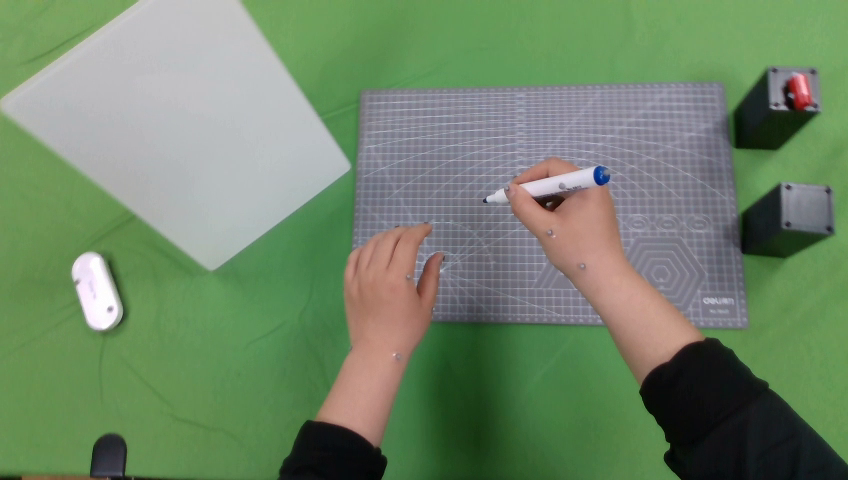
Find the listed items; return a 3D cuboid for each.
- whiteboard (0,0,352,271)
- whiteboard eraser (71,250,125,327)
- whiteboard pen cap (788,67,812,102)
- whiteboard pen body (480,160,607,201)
[{"bbox_3d":[-0.255,-0.146,0.661,0.217,0.309,0.142,-38,55,-4],"label":"whiteboard"},{"bbox_3d":[-0.397,0.059,0.736,0.041,0.019,0.100,-26,76,-3],"label":"whiteboard eraser"},{"bbox_3d":[0.384,-0.158,0.617,0.017,0.017,0.032,-4,76,5],"label":"whiteboard pen cap"},{"bbox_3d":[0.094,-0.047,0.514,0.017,0.140,0.017,5,81,-36],"label":"whiteboard pen body"}]
